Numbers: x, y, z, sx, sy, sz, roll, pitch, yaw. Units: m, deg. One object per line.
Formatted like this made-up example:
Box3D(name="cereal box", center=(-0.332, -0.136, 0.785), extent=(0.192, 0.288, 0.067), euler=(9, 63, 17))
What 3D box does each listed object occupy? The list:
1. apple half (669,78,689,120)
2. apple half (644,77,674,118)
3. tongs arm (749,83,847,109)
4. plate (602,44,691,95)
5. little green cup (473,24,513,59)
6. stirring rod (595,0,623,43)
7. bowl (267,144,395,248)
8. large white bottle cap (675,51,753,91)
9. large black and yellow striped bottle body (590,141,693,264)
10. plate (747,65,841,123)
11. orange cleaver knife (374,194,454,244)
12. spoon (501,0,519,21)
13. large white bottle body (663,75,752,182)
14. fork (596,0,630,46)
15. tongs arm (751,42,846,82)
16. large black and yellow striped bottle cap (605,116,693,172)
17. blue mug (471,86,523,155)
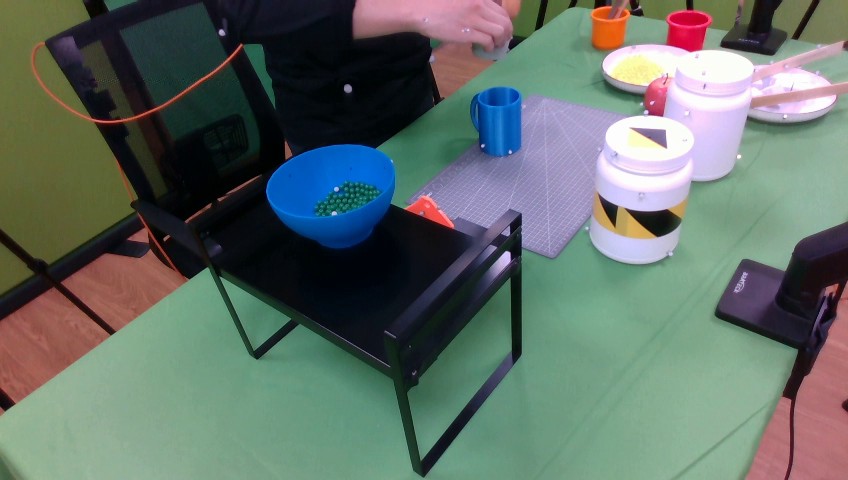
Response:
Box3D(name="apple half", center=(0.498, -0.273, 1.180), extent=(0.032, 0.082, 0.081), euler=(7, 42, 25))
Box3D(name="apple half", center=(0.463, -0.279, 1.194), extent=(0.053, 0.075, 0.081), euler=(8, 46, 25))
Box3D(name="tongs arm", center=(0.734, -0.280, 1.133), extent=(0.388, 0.028, 0.028), euler=(-9, 47, -5))
Box3D(name="plate", center=(0.495, -0.367, 1.317), extent=(0.209, 0.038, 0.208), euler=(-4, 40, 4))
Box3D(name="little green cup", center=(0.103, -0.305, 0.930), extent=(0.061, 0.039, 0.061), euler=(5, 32, -2))
Box3D(name="stirring rod", center=(0.460, -0.556, 1.460), extent=(0.014, 0.006, 0.176), euler=(30, 93, 23))
Box3D(name="bowl", center=(-0.104, -0.043, 0.726), extent=(0.151, 0.077, 0.150), euler=(-4, 40, 4))
Box3D(name="large white bottle cap", center=(0.463, -0.271, 0.967), extent=(0.115, 0.018, 0.114), euler=(-4, 40, 3))
Box3D(name="large black and yellow striped bottle body", center=(0.317, -0.071, 0.889), extent=(0.131, 0.185, 0.130), euler=(-4, 41, 4))
Box3D(name="plate", center=(0.694, -0.283, 1.189), extent=(0.207, 0.039, 0.206), euler=(-4, 40, 4))
Box3D(name="orange cleaver knife", center=(-0.032, -0.026, 0.964), extent=(0.210, 0.077, 0.012), euler=(-9, 29, 51))
Box3D(name="spoon", center=(0.143, -0.429, 0.966), extent=(0.021, 0.042, 0.193), euler=(-13, 58, 37))
Box3D(name="large white bottle body", center=(0.472, -0.207, 1.022), extent=(0.130, 0.185, 0.130), euler=(-4, 41, 4))
Box3D(name="fork", center=(0.481, -0.556, 1.452), extent=(0.028, 0.019, 0.207), euler=(40, 103, 40))
Box3D(name="tongs arm", center=(0.708, -0.331, 1.193), extent=(0.386, 0.026, 0.050), euler=(-18, 45, -16))
Box3D(name="large black and yellow striped bottle cap", center=(0.309, -0.134, 0.833), extent=(0.115, 0.019, 0.114), euler=(-5, 40, 5))
Box3D(name="blue mug", center=(0.135, -0.235, 1.163), extent=(0.082, 0.106, 0.115), euler=(-36, 48, -28))
